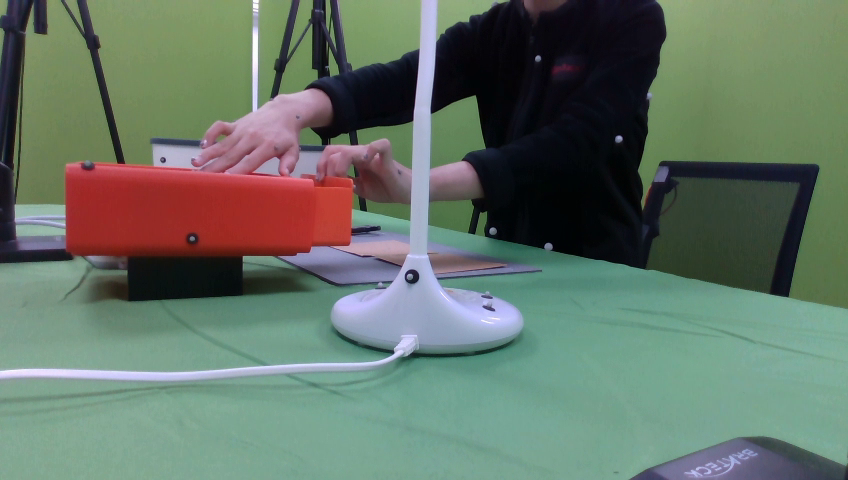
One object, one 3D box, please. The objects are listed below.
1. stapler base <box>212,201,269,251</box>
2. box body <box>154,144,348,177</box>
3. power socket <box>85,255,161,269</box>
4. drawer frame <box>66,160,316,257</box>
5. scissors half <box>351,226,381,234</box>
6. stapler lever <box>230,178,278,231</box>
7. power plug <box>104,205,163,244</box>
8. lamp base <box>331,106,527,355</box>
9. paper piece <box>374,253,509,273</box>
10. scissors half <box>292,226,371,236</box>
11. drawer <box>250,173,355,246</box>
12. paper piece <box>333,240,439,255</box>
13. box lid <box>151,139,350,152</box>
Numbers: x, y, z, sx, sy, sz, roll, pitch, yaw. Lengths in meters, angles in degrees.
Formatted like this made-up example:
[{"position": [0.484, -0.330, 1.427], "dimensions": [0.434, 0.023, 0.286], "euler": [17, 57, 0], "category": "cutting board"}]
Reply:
[{"position": [-0.187, -0.024, 0.640], "dimensions": [0.041, 0.024, 0.130], "euler": [27, 12, -13], "category": "stapler base"}, {"position": [-0.357, -0.119, 1.264], "dimensions": [0.365, 0.160, 0.253], "euler": [0, 7, -18], "category": "box body"}, {"position": [-0.409, 0.004, 0.793], "dimensions": [0.072, 0.032, 0.225], "euler": [-2, 8, -38], "category": "power socket"}, {"position": [-0.241, -0.035, 0.630], "dimensions": [0.215, 0.082, 0.200], "euler": [0, 8, -27], "category": "drawer frame"}, {"position": [-0.153, -0.015, 1.079], "dimensions": [0.176, 0.013, 0.040], "euler": [-6, 1, -33], "category": "scissors half"}, {"position": [-0.176, -0.039, 0.636], "dimensions": [0.027, 0.040, 0.118], "euler": [27, 6, -13], "category": "stapler lever"}, {"position": [-0.390, -0.021, 0.816], "dimensions": [0.073, 0.052, 0.035], "euler": [-1, 8, -28], "category": "power plug"}, {"position": [0.006, -0.012, 0.478], "dimensions": [0.161, 0.180, 0.179], "euler": [2, 10, 2], "category": "lamp base"}, {"position": [0.021, 0.029, 0.829], "dimensions": [0.139, 0.008, 0.135], "euler": [-1, 11, -36], "category": "paper piece"}, {"position": [-0.166, -0.015, 1.094], "dimensions": [0.040, 0.013, 0.176], "euler": [2, 6, 40], "category": "scissors half"}, {"position": [-0.205, -0.039, 0.651], "dimensions": [0.213, 0.073, 0.193], "euler": [0, 8, -27], "category": "drawer"}, {"position": [-0.068, 0.011, 0.936], "dimensions": [0.136, 0.004, 0.134], "euler": [-2, 9, -33], "category": "paper piece"}, {"position": [-0.352, -0.191, 1.255], "dimensions": [0.373, 0.015, 0.262], "euler": [0, 8, -18], "category": "box lid"}]
